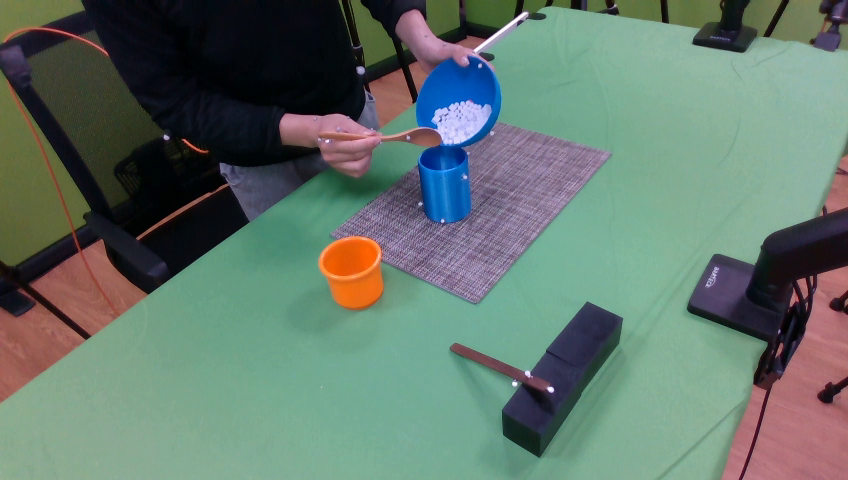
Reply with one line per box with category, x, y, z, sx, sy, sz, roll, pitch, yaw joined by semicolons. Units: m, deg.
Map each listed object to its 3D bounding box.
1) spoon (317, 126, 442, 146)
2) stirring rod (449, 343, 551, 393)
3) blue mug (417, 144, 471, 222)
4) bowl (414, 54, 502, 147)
spoon;-0.065;-0.159;0.923;0.195;0.041;0.021;-4;61;-22
stirring rod;0.088;0.154;0.741;0.014;0.006;0.174;-39;28;-25
blue mug;0.031;-0.104;1.014;0.082;0.106;0.115;-14;41;-7
bowl;0.067;-0.216;0.987;0.150;0.077;0.151;-6;79;29
